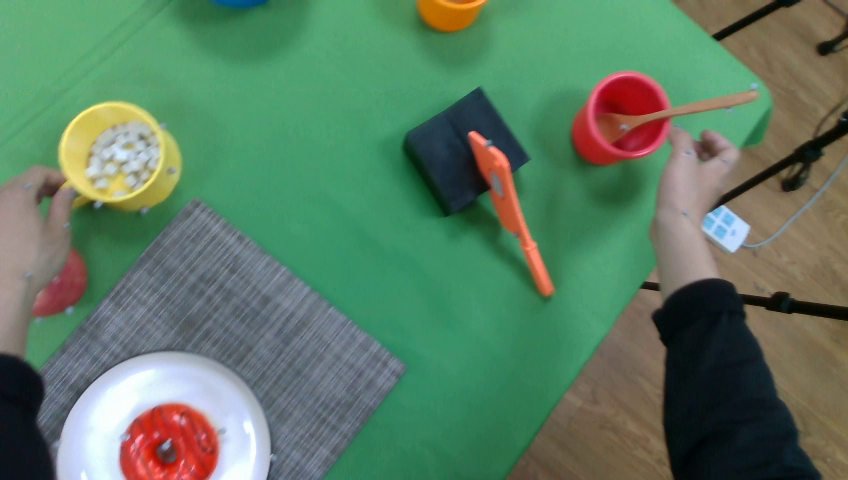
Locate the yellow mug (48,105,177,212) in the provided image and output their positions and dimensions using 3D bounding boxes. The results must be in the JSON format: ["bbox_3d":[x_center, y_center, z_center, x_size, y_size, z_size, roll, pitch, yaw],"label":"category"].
[{"bbox_3d":[-0.329,-0.073,0.627,0.131,0.064,0.100,-40,91,-9],"label":"yellow mug"}]

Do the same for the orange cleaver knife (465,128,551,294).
[{"bbox_3d":[0.093,-0.028,0.672,0.012,0.076,0.213,-32,122,-8],"label":"orange cleaver knife"}]

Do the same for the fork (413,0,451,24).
[{"bbox_3d":[0.060,-0.320,0.661,0.028,0.018,0.207,50,124,2],"label":"fork"}]

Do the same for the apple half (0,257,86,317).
[{"bbox_3d":[-0.388,0.049,0.605,0.081,0.074,0.053,19,86,-9],"label":"apple half"}]

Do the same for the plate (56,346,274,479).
[{"bbox_3d":[-0.260,0.212,0.623,0.209,0.038,0.208,1,85,-8],"label":"plate"}]

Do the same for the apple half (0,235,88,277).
[{"bbox_3d":[-0.376,0.012,0.609,0.081,0.081,0.033,18,86,-6],"label":"apple half"}]

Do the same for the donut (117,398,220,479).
[{"bbox_3d":[-0.257,0.209,0.612,0.099,0.048,0.099,0,87,-9],"label":"donut"}]

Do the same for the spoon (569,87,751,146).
[{"bbox_3d":[0.256,-0.141,0.676,0.193,0.022,0.041,-8,79,35],"label":"spoon"}]

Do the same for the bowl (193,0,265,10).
[{"bbox_3d":[-0.211,-0.312,0.658,0.152,0.077,0.151,1,86,-8],"label":"bowl"}]
